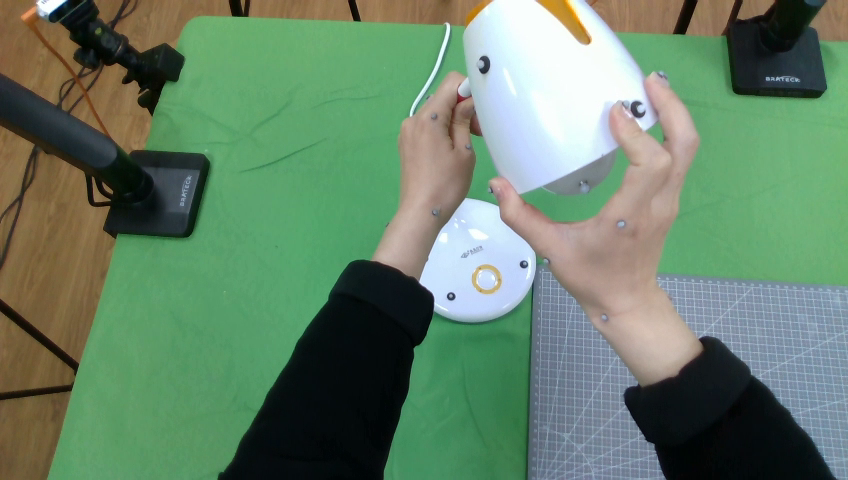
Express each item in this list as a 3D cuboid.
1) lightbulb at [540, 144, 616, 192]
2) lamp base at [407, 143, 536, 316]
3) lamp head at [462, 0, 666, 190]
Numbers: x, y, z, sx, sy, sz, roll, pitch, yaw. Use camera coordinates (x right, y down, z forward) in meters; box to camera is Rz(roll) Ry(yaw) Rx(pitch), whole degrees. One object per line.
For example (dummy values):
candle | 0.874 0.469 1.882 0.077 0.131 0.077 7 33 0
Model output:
lightbulb | 0.086 -0.084 0.392 0.059 0.059 0.108 -22 96 -5
lamp base | 0.046 -0.020 0.686 0.160 0.181 0.178 -35 68 -10
lamp head | 0.076 -0.108 0.395 0.112 0.112 0.123 -32 92 -9
